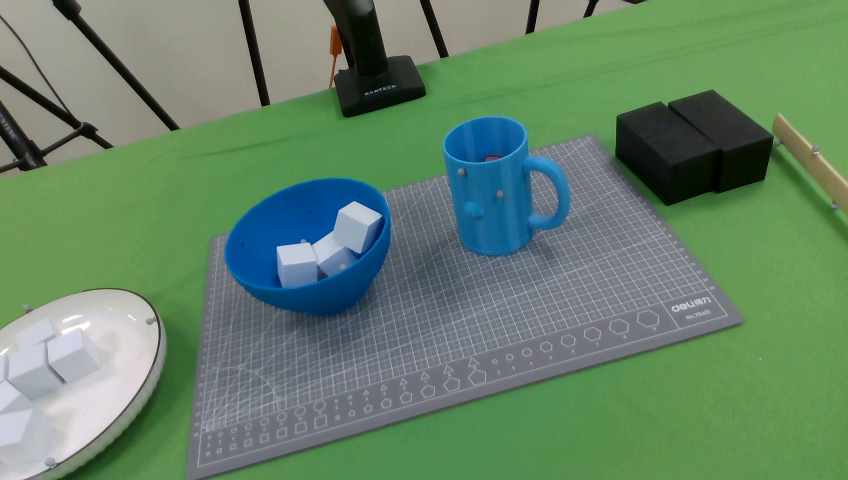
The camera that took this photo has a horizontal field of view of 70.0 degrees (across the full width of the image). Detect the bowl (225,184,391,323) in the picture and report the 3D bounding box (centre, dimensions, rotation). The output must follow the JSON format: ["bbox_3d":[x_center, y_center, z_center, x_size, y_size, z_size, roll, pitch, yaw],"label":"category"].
[{"bbox_3d":[-0.097,0.024,0.562,0.151,0.077,0.150,-8,41,7],"label":"bowl"}]

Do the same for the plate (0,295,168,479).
[{"bbox_3d":[-0.324,0.136,0.532,0.209,0.038,0.207,-7,41,7],"label":"plate"}]

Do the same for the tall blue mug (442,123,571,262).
[{"bbox_3d":[0.078,-0.045,0.568,0.107,0.109,0.077,-8,40,7],"label":"tall blue mug"}]

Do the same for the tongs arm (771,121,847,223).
[{"bbox_3d":[0.393,0.010,0.480,0.051,0.027,0.380,-6,41,1],"label":"tongs arm"}]
